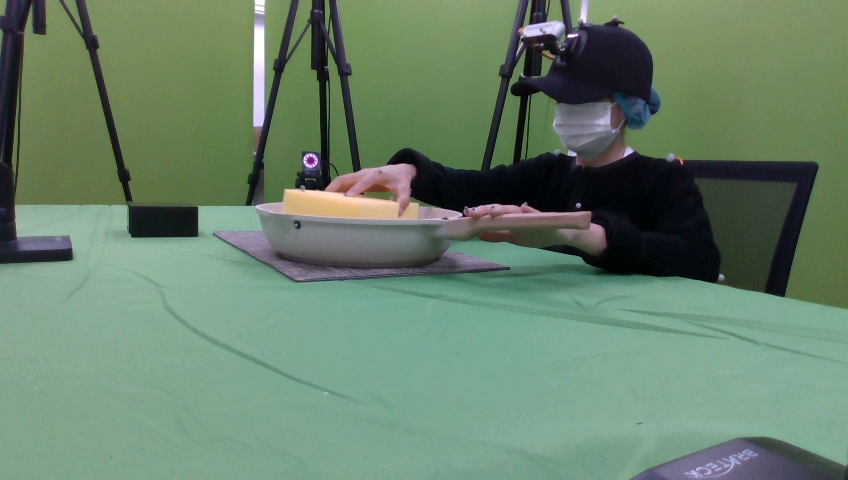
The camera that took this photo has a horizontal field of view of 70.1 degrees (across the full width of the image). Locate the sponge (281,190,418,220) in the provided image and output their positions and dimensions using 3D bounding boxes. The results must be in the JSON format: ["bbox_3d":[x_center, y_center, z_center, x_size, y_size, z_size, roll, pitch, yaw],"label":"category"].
[{"bbox_3d":[-0.101,-0.033,0.874,0.118,0.061,0.207,10,6,19],"label":"sponge"}]

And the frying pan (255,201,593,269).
[{"bbox_3d":[-0.011,-0.017,0.802,0.485,0.102,0.308,-2,4,39],"label":"frying pan"}]
